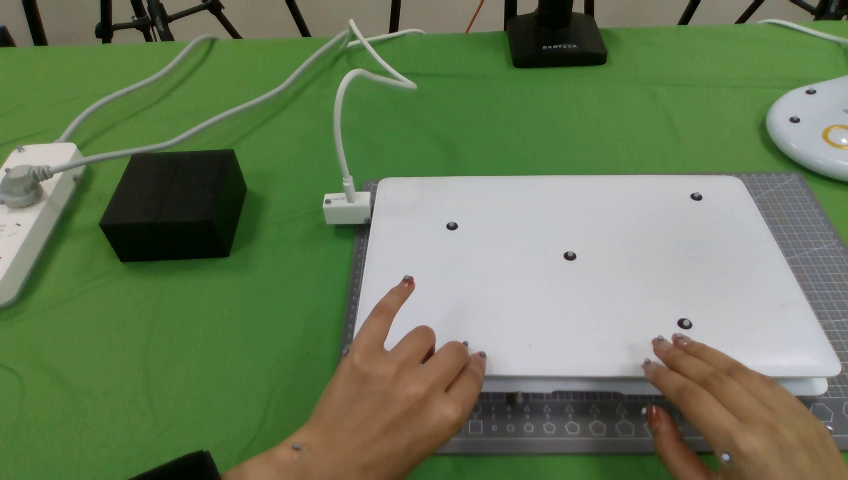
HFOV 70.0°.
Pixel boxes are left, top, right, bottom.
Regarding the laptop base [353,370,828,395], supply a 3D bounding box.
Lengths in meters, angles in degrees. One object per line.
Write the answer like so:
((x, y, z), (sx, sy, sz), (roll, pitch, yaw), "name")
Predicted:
((0.126, 0.030, 0.528), (0.354, 0.023, 0.233), (0, 50, 3), "laptop base")

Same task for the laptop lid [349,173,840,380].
((0.124, 0.016, 0.511), (0.356, 0.013, 0.239), (1, 44, 4), "laptop lid")

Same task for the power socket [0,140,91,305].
((-0.398, -0.024, 0.593), (0.072, 0.033, 0.224), (-2, 46, -1), "power socket")

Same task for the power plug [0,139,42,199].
((-0.389, -0.073, 0.570), (0.053, 0.073, 0.035), (11, 29, -19), "power plug")

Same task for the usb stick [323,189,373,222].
((-0.064, -0.033, 0.579), (0.059, 0.027, 0.021), (0, 44, 0), "usb stick")

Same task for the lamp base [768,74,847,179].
((0.456, -0.177, 0.597), (0.159, 0.182, 0.179), (26, 51, 25), "lamp base")
